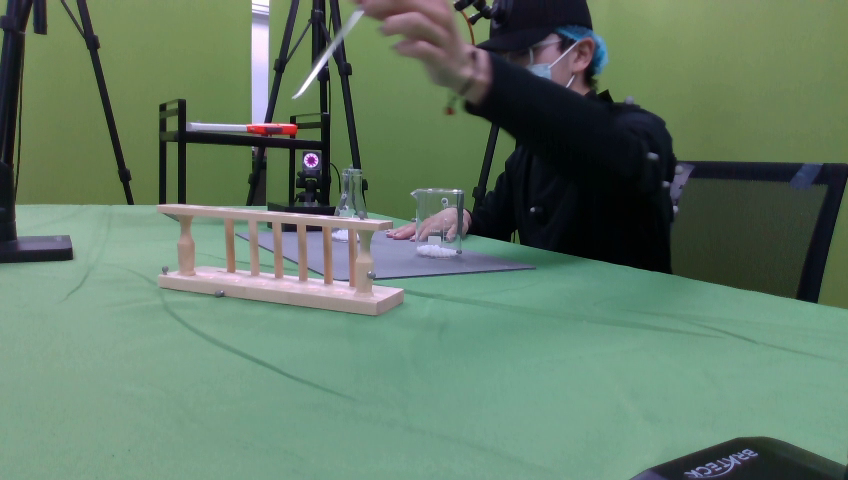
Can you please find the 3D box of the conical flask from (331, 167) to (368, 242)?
[{"bbox_3d":[-0.123,-0.061,1.018,0.075,0.122,0.075,2,7,0],"label":"conical flask"}]

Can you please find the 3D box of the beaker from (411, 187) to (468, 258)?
[{"bbox_3d":[0.021,-0.027,0.892,0.084,0.100,0.074,1,7,-1],"label":"beaker"}]

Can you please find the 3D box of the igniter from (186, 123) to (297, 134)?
[{"bbox_3d":[-0.393,-0.248,1.341,0.057,0.025,0.278,9,14,38],"label":"igniter"}]

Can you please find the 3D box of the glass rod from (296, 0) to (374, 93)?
[{"bbox_3d":[-0.069,-0.230,0.623,0.008,0.199,0.008,38,-1,1],"label":"glass rod"}]

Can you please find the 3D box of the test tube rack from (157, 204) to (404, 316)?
[{"bbox_3d":[-0.143,0.013,0.598,0.242,0.085,0.067,5,8,19],"label":"test tube rack"}]
